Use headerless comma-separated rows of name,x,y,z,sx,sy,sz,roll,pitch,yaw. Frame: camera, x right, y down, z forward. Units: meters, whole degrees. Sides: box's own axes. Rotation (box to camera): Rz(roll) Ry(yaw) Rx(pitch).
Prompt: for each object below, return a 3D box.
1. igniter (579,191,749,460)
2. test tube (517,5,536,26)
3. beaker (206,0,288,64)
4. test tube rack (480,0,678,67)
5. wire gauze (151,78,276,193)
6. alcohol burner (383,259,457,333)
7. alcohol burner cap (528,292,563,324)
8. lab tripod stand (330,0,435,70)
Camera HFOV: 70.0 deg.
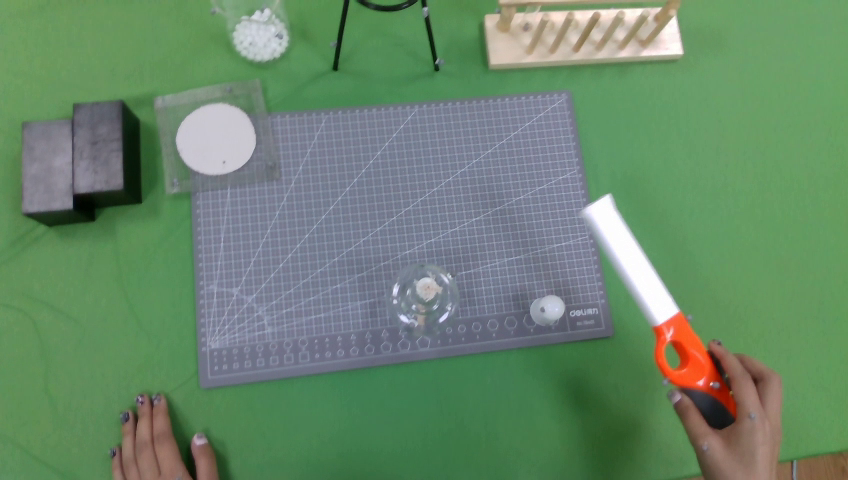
igniter,0.228,0.080,0.571,0.057,0.025,0.276,-30,90,-13
test tube,0.125,-0.286,0.665,0.017,0.151,0.017,1,73,-4
beaker,-0.191,-0.248,0.674,0.074,0.100,0.084,-36,84,-11
test tube rack,0.195,-0.262,0.717,0.243,0.085,0.066,-5,78,-6
wire gauze,-0.239,-0.119,0.685,0.125,0.011,0.121,-11,78,-7
alcohol burner,-0.002,0.054,0.616,0.078,0.119,0.077,1,76,-5
alcohol burner cap,0.135,0.073,0.660,0.034,0.048,0.033,1,76,-3
lab tripod stand,-0.049,-0.259,0.671,0.148,0.132,0.147,1,77,-3
